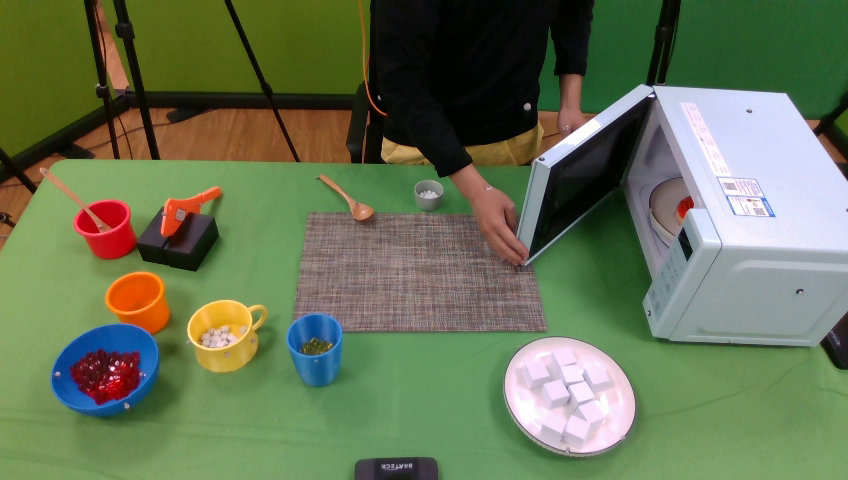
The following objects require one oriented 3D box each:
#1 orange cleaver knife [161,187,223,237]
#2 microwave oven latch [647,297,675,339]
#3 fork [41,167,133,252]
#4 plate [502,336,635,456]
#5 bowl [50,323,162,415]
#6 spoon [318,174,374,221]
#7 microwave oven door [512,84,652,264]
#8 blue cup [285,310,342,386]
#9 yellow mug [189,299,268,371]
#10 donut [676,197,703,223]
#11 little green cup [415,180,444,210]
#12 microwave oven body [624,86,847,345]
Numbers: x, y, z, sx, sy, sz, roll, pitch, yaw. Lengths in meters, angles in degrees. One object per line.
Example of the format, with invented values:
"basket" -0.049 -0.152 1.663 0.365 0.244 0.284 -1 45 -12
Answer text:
"orange cleaver knife" -0.448 -0.059 1.181 0.012 0.077 0.211 13 17 6
"microwave oven latch" 0.413 0.134 1.061 0.030 0.029 0.078 5 45 2
"fork" -0.624 -0.056 1.121 0.208 0.018 0.028 49 52 -15
"plate" 0.225 0.248 0.964 0.208 0.039 0.206 2 46 -2
"bowl" -0.472 0.209 0.924 0.151 0.077 0.150 2 45 -2
"spoon" -0.168 -0.095 1.274 0.041 0.022 0.192 -38 56 -15
"microwave oven door" 0.309 -0.132 1.169 0.039 0.245 0.355 36 54 27
"blue cup" -0.170 0.179 0.958 0.093 0.101 0.092 2 44 -1
"yellow mug" -0.316 0.148 1.002 0.131 0.064 0.099 -32 56 -31
"donut" 0.537 -0.045 1.169 0.099 0.048 0.098 9 37 -7
"little green cup" 0.011 -0.094 1.278 0.061 0.039 0.061 2 48 -3
"microwave oven body" 0.568 -0.053 1.118 0.326 0.261 0.439 2 45 -1
